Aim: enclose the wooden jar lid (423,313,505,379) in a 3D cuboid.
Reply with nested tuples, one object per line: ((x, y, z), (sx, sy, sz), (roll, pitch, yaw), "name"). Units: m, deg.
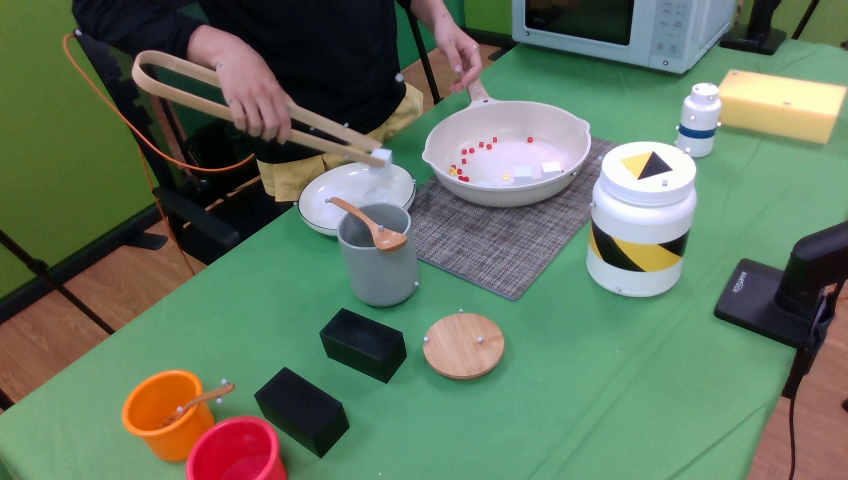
((0.053, 0.142, 0.800), (0.108, 0.021, 0.108), (-5, 39, 4), "wooden jar lid")

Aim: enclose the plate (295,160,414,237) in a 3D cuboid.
((-0.118, -0.070, 1.055), (0.207, 0.039, 0.206), (-5, 40, 5), "plate")

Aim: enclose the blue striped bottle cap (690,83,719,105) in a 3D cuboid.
((0.481, -0.251, 1.038), (0.044, 0.021, 0.044), (-5, 40, 5), "blue striped bottle cap")

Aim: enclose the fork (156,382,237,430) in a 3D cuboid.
((-0.262, 0.189, 0.690), (0.018, 0.206, 0.028), (49, 43, -7), "fork")

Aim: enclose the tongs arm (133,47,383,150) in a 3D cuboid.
((-0.234, -0.200, 0.920), (0.388, 0.026, 0.050), (20, 54, -29), "tongs arm")

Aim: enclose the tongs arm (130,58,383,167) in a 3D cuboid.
((-0.233, -0.178, 0.907), (0.391, 0.027, 0.028), (17, 59, -31), "tongs arm")

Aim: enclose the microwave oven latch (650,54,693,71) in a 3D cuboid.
((0.531, -0.386, 1.301), (0.078, 0.029, 0.030), (26, 51, 33), "microwave oven latch")

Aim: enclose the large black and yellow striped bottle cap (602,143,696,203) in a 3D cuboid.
((0.289, -0.088, 0.779), (0.115, 0.019, 0.114), (-5, 39, 4), "large black and yellow striped bottle cap")

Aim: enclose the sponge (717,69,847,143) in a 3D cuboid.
((0.663, -0.256, 1.142), (0.205, 0.061, 0.118), (19, 47, 28), "sponge")

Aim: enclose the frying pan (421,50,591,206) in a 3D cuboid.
((0.127, -0.233, 1.155), (0.307, 0.103, 0.484), (-11, 49, -5), "frying pan")

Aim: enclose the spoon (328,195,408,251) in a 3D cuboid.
((-0.083, -0.029, 0.829), (0.042, 0.022, 0.192), (-32, 43, -21), "spoon")

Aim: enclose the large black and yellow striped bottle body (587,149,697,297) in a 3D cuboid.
((0.298, -0.026, 0.835), (0.131, 0.185, 0.130), (-4, 41, 4), "large black and yellow striped bottle body")

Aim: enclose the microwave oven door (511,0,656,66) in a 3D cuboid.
((0.350, -0.539, 1.349), (0.353, 0.245, 0.039), (24, 50, 31), "microwave oven door")

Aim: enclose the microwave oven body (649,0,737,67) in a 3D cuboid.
((0.475, -0.602, 1.411), (0.438, 0.261, 0.327), (23, 50, 32), "microwave oven body")

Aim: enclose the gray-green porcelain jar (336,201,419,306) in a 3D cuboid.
((-0.064, 0.024, 0.872), (0.106, 0.127, 0.105), (-4, 41, 4), "gray-green porcelain jar")

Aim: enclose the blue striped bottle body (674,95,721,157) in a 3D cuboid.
((0.486, -0.213, 1.071), (0.063, 0.121, 0.063), (-4, 41, 4), "blue striped bottle body")
